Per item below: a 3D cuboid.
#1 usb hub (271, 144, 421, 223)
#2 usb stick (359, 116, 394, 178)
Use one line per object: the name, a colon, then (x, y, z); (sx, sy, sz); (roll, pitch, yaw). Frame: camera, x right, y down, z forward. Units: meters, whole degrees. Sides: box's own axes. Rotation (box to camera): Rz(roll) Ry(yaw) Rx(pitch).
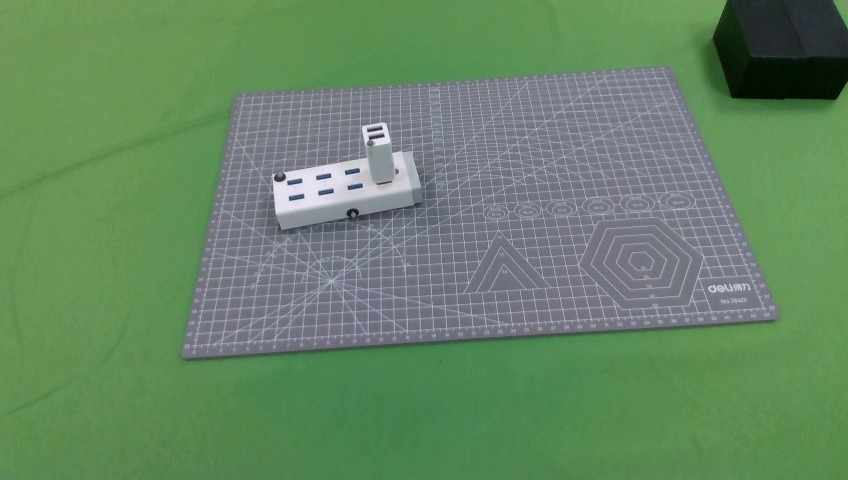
usb hub: (-0.069, -0.051, 0.529); (0.125, 0.025, 0.049); (-11, 54, -5)
usb stick: (-0.038, -0.072, 0.504); (0.021, 0.060, 0.027); (-13, 52, -6)
